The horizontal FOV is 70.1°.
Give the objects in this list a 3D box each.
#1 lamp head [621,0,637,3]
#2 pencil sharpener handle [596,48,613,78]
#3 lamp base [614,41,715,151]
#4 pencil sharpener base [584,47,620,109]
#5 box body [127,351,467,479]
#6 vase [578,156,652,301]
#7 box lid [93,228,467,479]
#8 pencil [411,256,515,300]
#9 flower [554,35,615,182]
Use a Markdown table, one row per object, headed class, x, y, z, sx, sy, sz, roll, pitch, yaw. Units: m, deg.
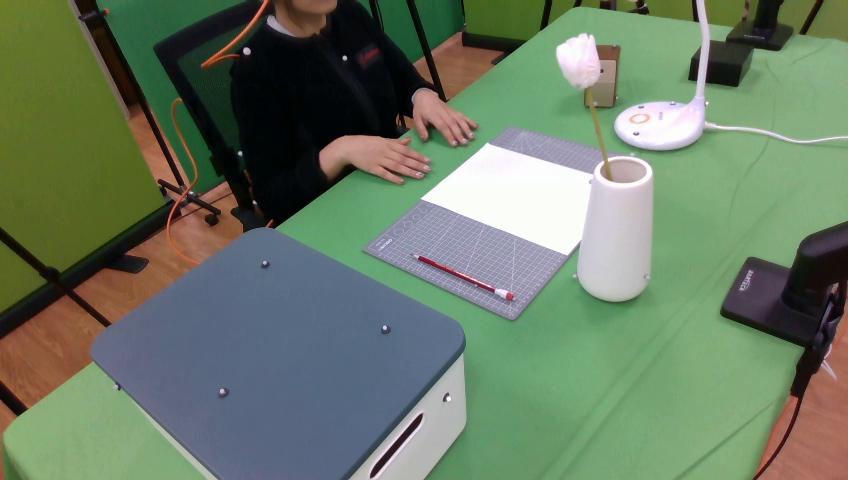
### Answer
| class | x | y | z | sx | sy | sz | roll | pitch | yaw |
| --- | --- | --- | --- | --- | --- | --- | --- | --- | --- |
| lamp head | 0.319 | -0.453 | 0.962 | 0.113 | 0.123 | 0.112 | 20 | 33 | -13 |
| pencil sharpener handle | 0.383 | -0.378 | 1.276 | 0.036 | 0.068 | 0.030 | 3 | 41 | 22 |
| lamp base | 0.449 | -0.277 | 1.106 | 0.179 | 0.181 | 0.160 | 1 | 41 | 9 |
| pencil sharpener base | 0.367 | -0.336 | 1.248 | 0.061 | 0.107 | 0.076 | 6 | 42 | 19 |
| box body | -0.155 | 0.169 | 0.707 | 0.361 | 0.161 | 0.255 | 23 | 49 | 33 |
| vase | 0.261 | -0.011 | 0.812 | 0.098 | 0.201 | 0.097 | -4 | 40 | 4 |
| box lid | -0.167 | 0.110 | 0.661 | 0.368 | 0.015 | 0.264 | 23 | 49 | 34 |
| pencil | 0.054 | 0.054 | 0.918 | 0.192 | 0.012 | 0.012 | 21 | 48 | 33 |
| flower | 0.237 | -0.083 | 0.774 | 0.044 | 0.363 | 0.038 | -22 | 26 | 7 |
